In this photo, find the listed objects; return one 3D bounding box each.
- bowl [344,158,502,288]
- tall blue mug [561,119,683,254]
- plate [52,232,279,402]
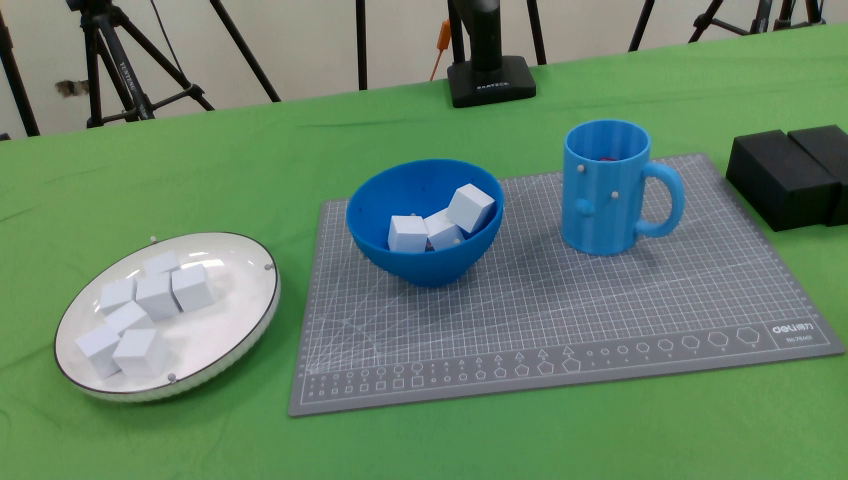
[{"bbox_3d":[0.004,-0.007,0.591,0.151,0.077,0.150,-5,40,5],"label":"bowl"},{"bbox_3d":[0.187,-0.050,0.582,0.107,0.109,0.077,1,40,12],"label":"tall blue mug"},{"bbox_3d":[-0.239,0.071,0.581,0.209,0.038,0.207,-5,40,4],"label":"plate"}]
